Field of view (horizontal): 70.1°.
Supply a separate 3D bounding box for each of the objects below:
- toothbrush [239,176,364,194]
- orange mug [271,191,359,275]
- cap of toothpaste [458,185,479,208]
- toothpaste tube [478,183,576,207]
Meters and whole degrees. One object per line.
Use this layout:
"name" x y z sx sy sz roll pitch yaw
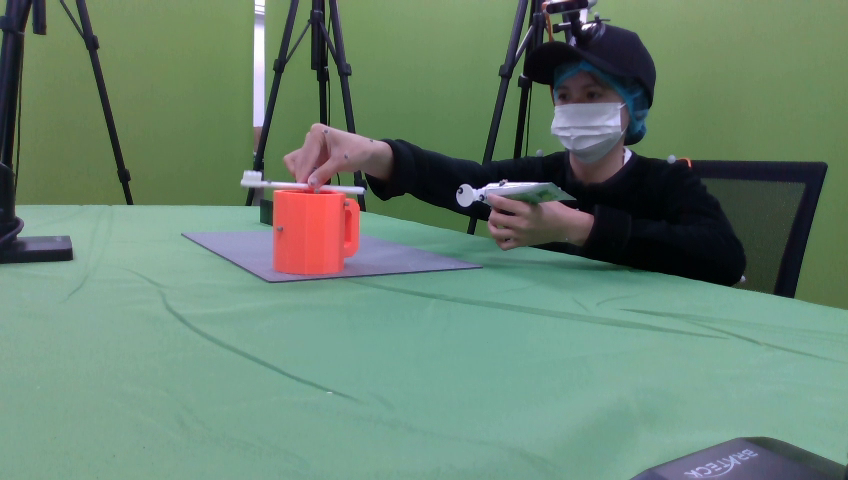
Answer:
"toothbrush" -0.143 -0.065 0.738 0.014 0.016 0.183 14 11 41
"orange mug" -0.131 -0.013 0.754 0.083 0.101 0.127 8 13 38
"cap of toothpaste" 0.067 -0.067 0.921 0.037 0.037 0.011 9 12 40
"toothpaste tube" 0.136 -0.067 0.862 0.055 0.034 0.164 21 -11 -36
